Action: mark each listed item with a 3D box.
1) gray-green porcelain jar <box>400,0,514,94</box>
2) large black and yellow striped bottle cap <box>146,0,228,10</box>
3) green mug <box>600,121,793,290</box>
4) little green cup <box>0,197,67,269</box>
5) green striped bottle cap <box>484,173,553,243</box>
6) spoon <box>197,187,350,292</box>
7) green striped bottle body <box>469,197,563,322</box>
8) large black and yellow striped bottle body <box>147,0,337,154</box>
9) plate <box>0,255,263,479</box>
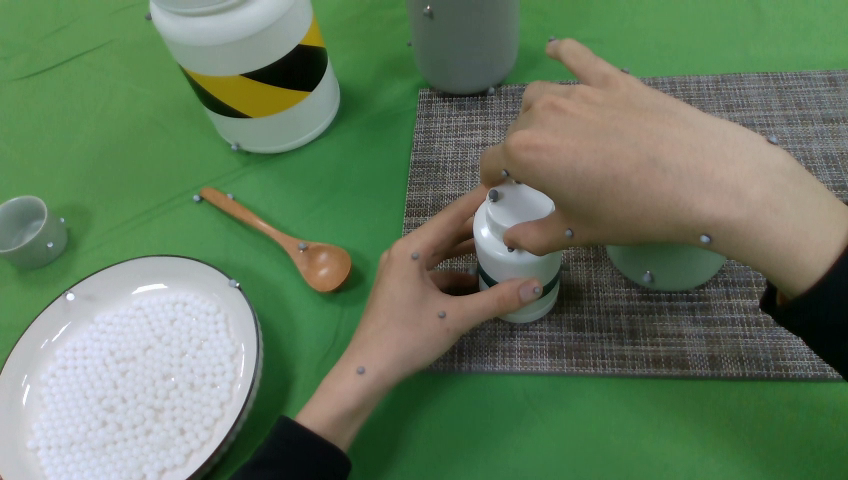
[{"bbox_3d":[0.033,-0.213,0.575,0.106,0.128,0.105,-4,54,5],"label":"gray-green porcelain jar"},{"bbox_3d":[-0.176,-0.226,0.481,0.115,0.019,0.114,-3,57,5],"label":"large black and yellow striped bottle cap"},{"bbox_3d":[0.197,-0.020,0.442,0.125,0.106,0.092,9,59,13],"label":"green mug"},{"bbox_3d":[-0.365,-0.004,0.557,0.061,0.039,0.061,-3,58,5],"label":"little green cup"},{"bbox_3d":[0.061,-0.021,0.390,0.044,0.020,0.044,-4,58,7],"label":"green striped bottle cap"},{"bbox_3d":[-0.139,-0.009,0.536,0.192,0.022,0.041,29,85,23],"label":"spoon"},{"bbox_3d":[0.066,0.007,0.434,0.063,0.120,0.062,-4,58,6],"label":"green striped bottle body"},{"bbox_3d":[-0.163,-0.183,0.552,0.130,0.186,0.129,-4,58,6],"label":"large black and yellow striped bottle body"},{"bbox_3d":[-0.222,0.108,0.466,0.209,0.038,0.207,-3,58,6],"label":"plate"}]
